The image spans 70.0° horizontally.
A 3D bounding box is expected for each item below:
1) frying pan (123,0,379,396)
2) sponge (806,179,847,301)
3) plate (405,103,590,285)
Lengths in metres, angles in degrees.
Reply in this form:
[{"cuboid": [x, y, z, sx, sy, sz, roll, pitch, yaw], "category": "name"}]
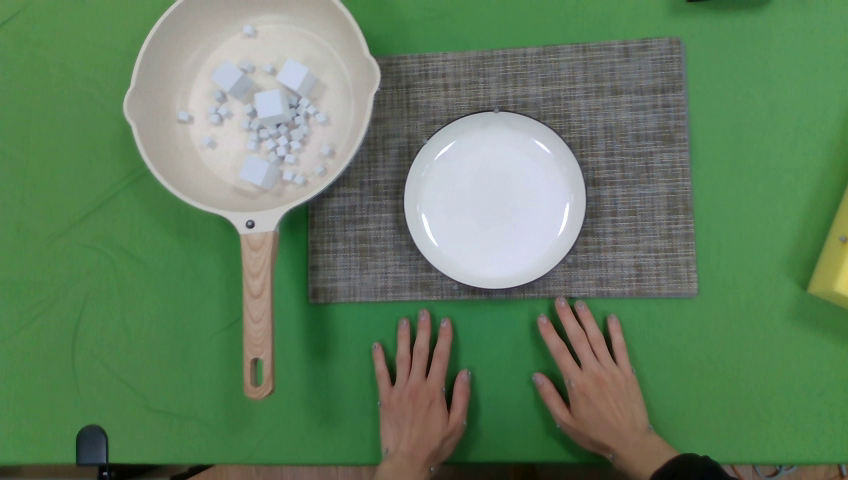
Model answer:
[{"cuboid": [-0.192, -0.070, 0.695, 0.306, 0.103, 0.485, -5, 76, 8], "category": "frying pan"}, {"cuboid": [0.513, -0.025, 0.642, 0.118, 0.061, 0.206, 22, 88, 8], "category": "sponge"}, {"cuboid": [0.083, -0.051, 0.697, 0.207, 0.039, 0.207, -1, 85, 6], "category": "plate"}]
